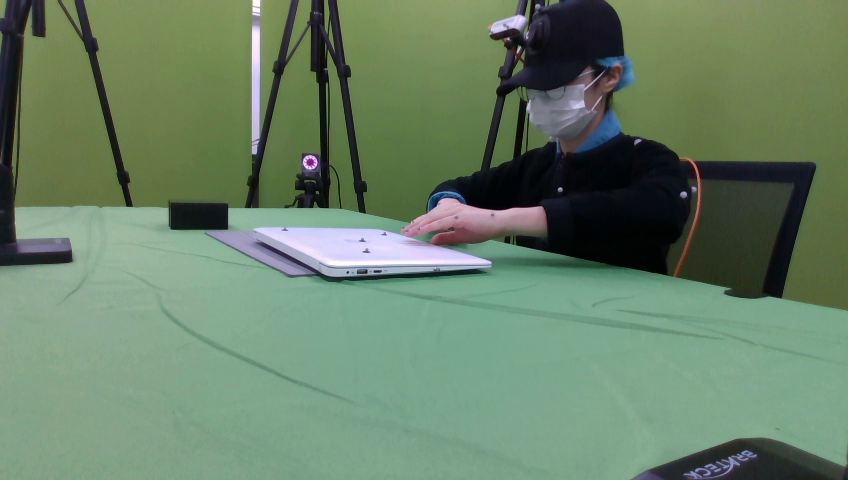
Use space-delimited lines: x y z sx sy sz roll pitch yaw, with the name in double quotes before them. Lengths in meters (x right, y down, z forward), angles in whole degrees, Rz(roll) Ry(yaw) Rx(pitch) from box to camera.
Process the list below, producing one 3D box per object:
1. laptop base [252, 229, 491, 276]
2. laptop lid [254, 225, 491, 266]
"laptop base" -0.095 0.015 0.889 0.237 0.023 0.352 2 7 -30
"laptop lid" -0.092 0.003 0.888 0.243 0.013 0.355 1 8 -29
